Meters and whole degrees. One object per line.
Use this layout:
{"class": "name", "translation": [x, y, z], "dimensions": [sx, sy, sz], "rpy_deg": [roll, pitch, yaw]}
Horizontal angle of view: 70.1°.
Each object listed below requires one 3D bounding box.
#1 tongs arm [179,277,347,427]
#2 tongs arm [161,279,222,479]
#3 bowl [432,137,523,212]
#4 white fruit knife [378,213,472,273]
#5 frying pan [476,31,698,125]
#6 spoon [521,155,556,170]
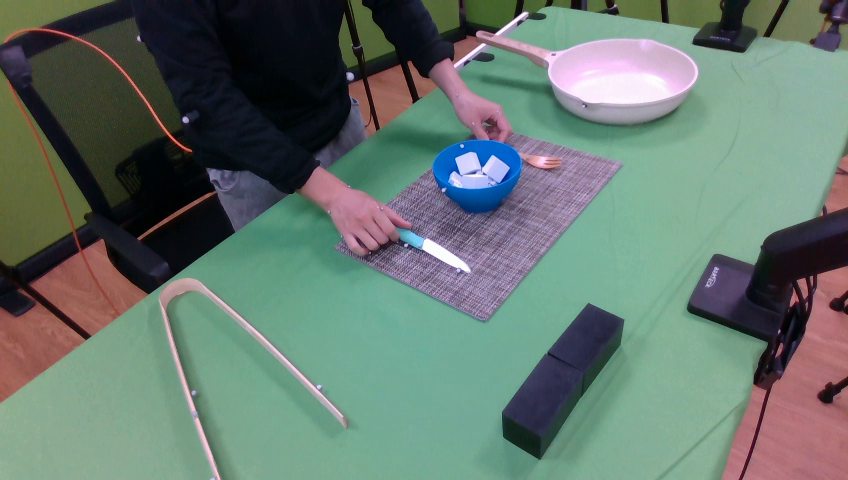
{"class": "tongs arm", "translation": [-0.231, 0.141, 0.832], "dimensions": [0.384, 0.028, 0.028], "rpy_deg": [30, 55, 35]}
{"class": "tongs arm", "translation": [-0.297, 0.174, 0.797], "dimensions": [0.051, 0.026, 0.381], "rpy_deg": [-25, 43, -21]}
{"class": "bowl", "translation": [0.091, -0.100, 1.022], "dimensions": [0.151, 0.077, 0.150], "rpy_deg": [-4, 41, 4]}
{"class": "white fruit knife", "translation": [-0.003, 0.005, 0.961], "dimensions": [0.205, 0.016, 0.027], "rpy_deg": [29, 60, 34]}
{"class": "frying pan", "translation": [0.321, -0.371, 1.290], "dimensions": [0.484, 0.103, 0.307], "rpy_deg": [29, 51, 23]}
{"class": "spoon", "translation": [0.156, -0.161, 1.126], "dimensions": [0.192, 0.022, 0.042], "rpy_deg": [25, 34, 29]}
